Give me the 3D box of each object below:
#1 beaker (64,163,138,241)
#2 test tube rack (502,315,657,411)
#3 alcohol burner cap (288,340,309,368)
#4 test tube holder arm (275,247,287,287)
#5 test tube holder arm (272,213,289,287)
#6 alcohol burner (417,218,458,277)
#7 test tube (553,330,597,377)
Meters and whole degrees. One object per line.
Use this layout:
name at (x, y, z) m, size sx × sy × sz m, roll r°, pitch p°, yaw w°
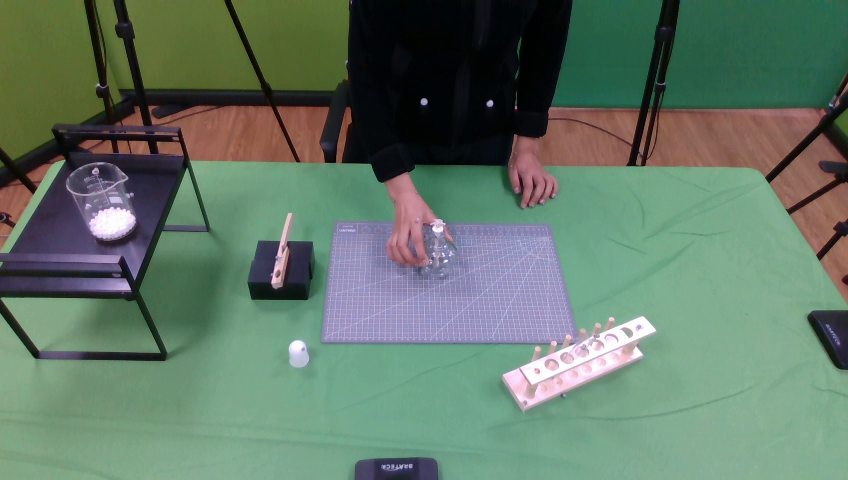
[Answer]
beaker at (-0.477, -0.055, 0.910) m, size 0.084 × 0.101 × 0.073 m, roll -9°, pitch 48°, yaw -13°
test tube rack at (0.253, 0.186, 0.989) m, size 0.242 × 0.085 × 0.066 m, roll -18°, pitch 50°, yaw -20°
alcohol burner cap at (-0.207, 0.183, 0.991) m, size 0.034 × 0.048 × 0.033 m, roll 3°, pitch 46°, yaw -3°
test tube holder arm at (-0.251, 0.046, 1.068) m, size 0.010 × 0.015 × 0.087 m, roll 0°, pitch 45°, yaw -4°
test tube holder arm at (-0.259, 0.015, 1.099) m, size 0.013 × 0.015 × 0.177 m, roll -1°, pitch 45°, yaw -5°
alcohol burner at (0.025, 0.009, 1.110) m, size 0.078 × 0.120 × 0.077 m, roll 1°, pitch 42°, yaw 0°
test tube at (0.226, 0.176, 0.924) m, size 0.017 × 0.151 × 0.017 m, roll 6°, pitch 55°, yaw -9°
